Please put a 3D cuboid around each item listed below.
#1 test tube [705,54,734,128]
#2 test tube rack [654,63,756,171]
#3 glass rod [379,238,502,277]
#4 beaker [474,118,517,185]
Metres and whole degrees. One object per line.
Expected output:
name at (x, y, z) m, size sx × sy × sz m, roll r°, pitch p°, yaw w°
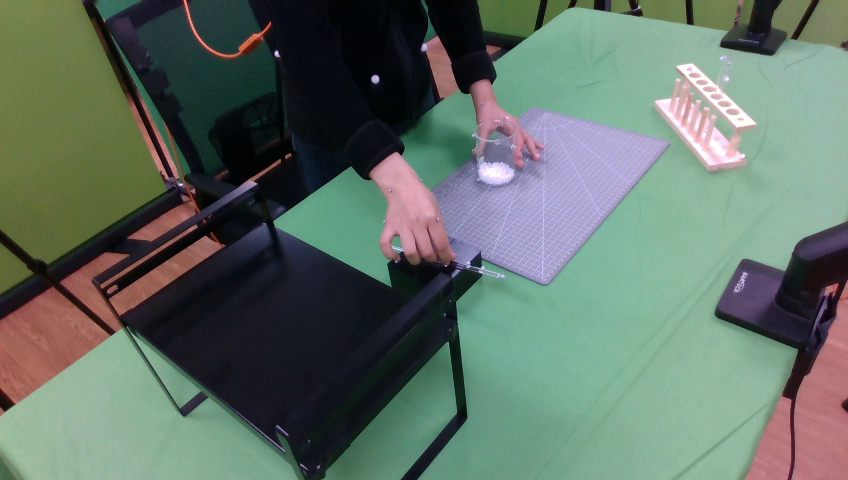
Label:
test tube at (0.524, -0.260, 1.073) m, size 0.017 × 0.151 × 0.017 m, roll -4°, pitch 46°, yaw 5°
test tube rack at (0.511, -0.233, 1.120) m, size 0.067 × 0.085 × 0.241 m, roll -8°, pitch 41°, yaw -1°
glass rod at (0.020, 0.024, 0.877) m, size 0.198 × 0.008 × 0.008 m, roll 16°, pitch 46°, yaw 24°
beaker at (0.130, -0.157, 1.074) m, size 0.073 × 0.101 × 0.084 m, roll 11°, pitch 44°, yaw 20°
